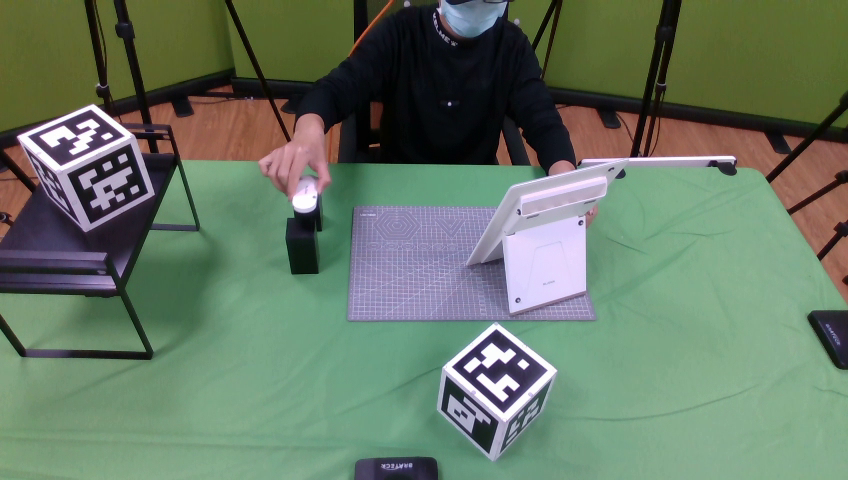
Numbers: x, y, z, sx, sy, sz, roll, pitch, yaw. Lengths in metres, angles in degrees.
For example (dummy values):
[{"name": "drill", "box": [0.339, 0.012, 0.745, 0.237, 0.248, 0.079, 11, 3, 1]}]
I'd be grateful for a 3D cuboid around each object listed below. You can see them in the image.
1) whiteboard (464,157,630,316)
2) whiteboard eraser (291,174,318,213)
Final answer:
[{"name": "whiteboard", "box": [0.223, 0.014, 1.041, 0.217, 0.306, 0.143, -14, 68, -17]}, {"name": "whiteboard eraser", "box": [-0.216, -0.085, 1.099, 0.041, 0.019, 0.100, 2, 42, -4]}]
